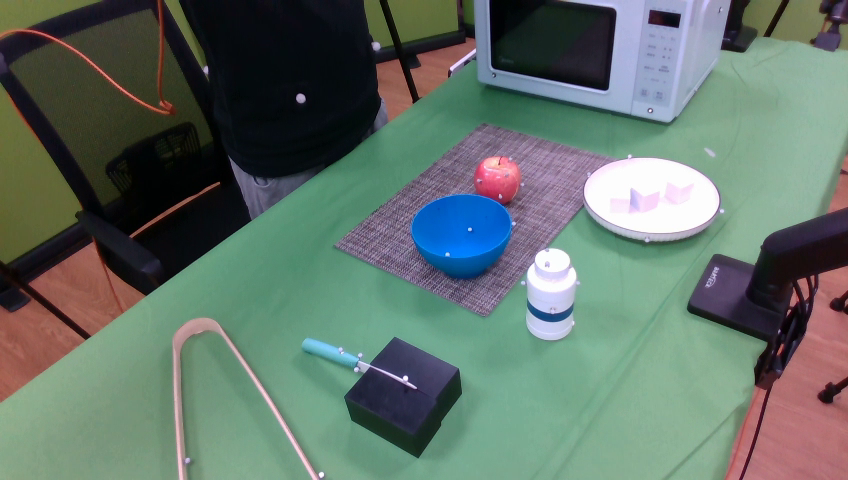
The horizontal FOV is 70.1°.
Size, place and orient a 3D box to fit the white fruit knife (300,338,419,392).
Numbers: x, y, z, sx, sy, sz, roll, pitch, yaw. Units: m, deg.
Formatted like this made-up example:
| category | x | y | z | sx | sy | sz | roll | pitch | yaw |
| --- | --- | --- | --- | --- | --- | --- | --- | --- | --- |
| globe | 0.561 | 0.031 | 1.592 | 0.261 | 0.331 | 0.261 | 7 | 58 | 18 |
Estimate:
| category | x | y | z | sx | sy | sz | roll | pitch | yaw |
| --- | --- | --- | --- | --- | --- | --- | --- | --- | --- |
| white fruit knife | -0.087 | 0.156 | 0.762 | 0.206 | 0.027 | 0.016 | 11 | 44 | 36 |

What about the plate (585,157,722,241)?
| category | x | y | z | sx | sy | sz | roll | pitch | yaw |
| --- | --- | --- | --- | --- | --- | --- | --- | --- | --- |
| plate | 0.367 | -0.063 | 0.979 | 0.207 | 0.039 | 0.206 | -4 | 40 | 4 |

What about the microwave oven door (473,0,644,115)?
| category | x | y | z | sx | sy | sz | roll | pitch | yaw |
| --- | --- | --- | --- | --- | --- | --- | --- | --- | --- |
| microwave oven door | 0.257 | -0.396 | 1.199 | 0.353 | 0.245 | 0.039 | 21 | 48 | 29 |

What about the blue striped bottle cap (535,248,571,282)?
| category | x | y | z | sx | sy | sz | roll | pitch | yaw |
| --- | --- | --- | --- | --- | --- | --- | --- | --- | --- |
| blue striped bottle cap | 0.161 | 0.031 | 0.753 | 0.044 | 0.021 | 0.044 | -4 | 42 | 4 |

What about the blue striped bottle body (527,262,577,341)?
| category | x | y | z | sx | sy | sz | roll | pitch | yaw |
| --- | --- | --- | --- | --- | --- | --- | --- | --- | --- |
| blue striped bottle body | 0.165 | 0.070 | 0.786 | 0.063 | 0.121 | 0.063 | -4 | 41 | 4 |

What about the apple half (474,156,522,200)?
| category | x | y | z | sx | sy | sz | roll | pitch | yaw |
| --- | --- | --- | --- | --- | --- | --- | --- | --- | --- |
| apple half | 0.130 | -0.108 | 1.031 | 0.080 | 0.075 | 0.053 | 8 | 39 | 22 |

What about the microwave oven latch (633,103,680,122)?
| category | x | y | z | sx | sy | sz | roll | pitch | yaw |
| --- | --- | --- | --- | --- | --- | --- | --- | --- | --- |
| microwave oven latch | 0.443 | -0.249 | 1.158 | 0.078 | 0.029 | 0.030 | 21 | 49 | 30 |

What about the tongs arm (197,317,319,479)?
| category | x | y | z | sx | sy | sz | roll | pitch | yaw |
| --- | --- | --- | --- | --- | --- | --- | --- | --- | --- |
| tongs arm | -0.200 | 0.207 | 0.750 | 0.028 | 0.028 | 0.384 | -31 | 45 | -22 |

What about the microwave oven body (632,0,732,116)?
| category | x | y | z | sx | sy | sz | roll | pitch | yaw |
| --- | --- | --- | --- | --- | --- | --- | --- | --- | --- |
| microwave oven body | 0.377 | -0.463 | 1.267 | 0.438 | 0.261 | 0.327 | 21 | 49 | 30 |

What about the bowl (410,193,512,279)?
| category | x | y | z | sx | sy | sz | roll | pitch | yaw |
| --- | --- | --- | --- | --- | --- | --- | --- | --- | --- |
| bowl | 0.058 | 0.005 | 0.905 | 0.151 | 0.077 | 0.150 | -4 | 40 | 4 |

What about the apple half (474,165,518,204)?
| category | x | y | z | sx | sy | sz | roll | pitch | yaw |
| --- | --- | --- | --- | --- | --- | --- | --- | --- | --- |
| apple half | 0.115 | -0.084 | 1.005 | 0.081 | 0.081 | 0.033 | 11 | 41 | 20 |

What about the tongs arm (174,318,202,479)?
| category | x | y | z | sx | sy | sz | roll | pitch | yaw |
| --- | --- | --- | --- | --- | --- | --- | --- | --- | --- |
| tongs arm | -0.272 | 0.233 | 0.723 | 0.051 | 0.026 | 0.381 | -19 | 40 | -14 |
